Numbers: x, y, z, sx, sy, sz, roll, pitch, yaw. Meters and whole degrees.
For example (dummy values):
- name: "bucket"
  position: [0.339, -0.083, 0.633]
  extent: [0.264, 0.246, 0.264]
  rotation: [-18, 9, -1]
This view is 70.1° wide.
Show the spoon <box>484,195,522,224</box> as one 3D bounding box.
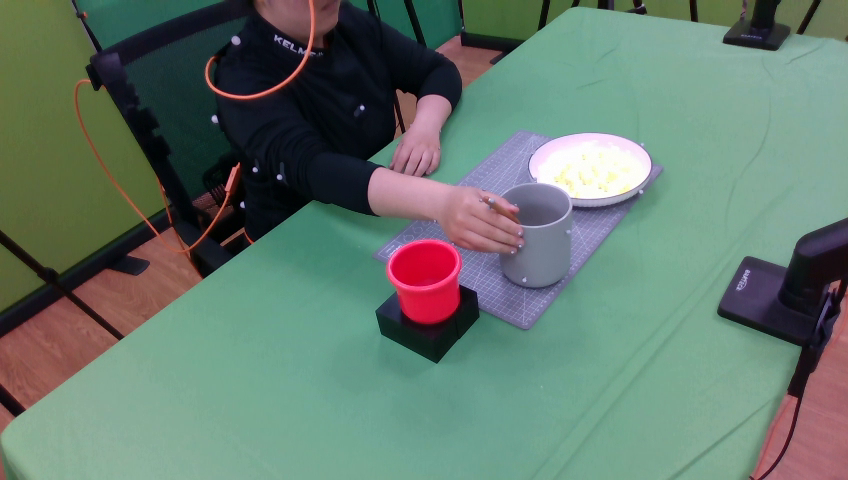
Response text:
- name: "spoon"
  position: [0.128, -0.019, 0.826]
  extent: [0.021, 0.195, 0.041]
  rotation: [-51, 50, -1]

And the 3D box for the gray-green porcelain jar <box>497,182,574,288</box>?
- name: "gray-green porcelain jar"
  position: [0.161, -0.003, 0.869]
  extent: [0.106, 0.127, 0.105]
  rotation: [-5, 40, 5]

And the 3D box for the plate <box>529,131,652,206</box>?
- name: "plate"
  position: [0.287, -0.122, 1.056]
  extent: [0.207, 0.039, 0.206]
  rotation: [-5, 40, 5]
